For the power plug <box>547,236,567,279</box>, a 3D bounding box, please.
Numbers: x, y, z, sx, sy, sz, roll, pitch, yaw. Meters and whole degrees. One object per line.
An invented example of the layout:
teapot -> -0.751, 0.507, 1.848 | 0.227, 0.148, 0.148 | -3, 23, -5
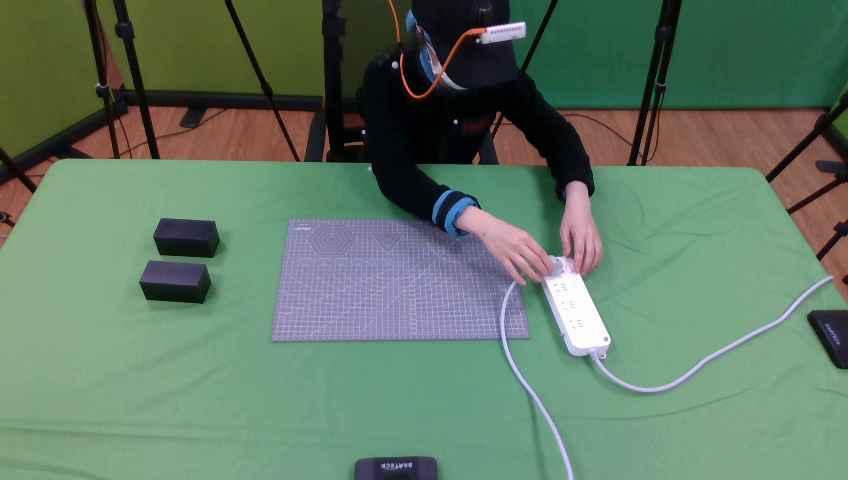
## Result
power plug -> 0.243, 0.034, 1.107 | 0.035, 0.073, 0.052 | -1, 34, 10

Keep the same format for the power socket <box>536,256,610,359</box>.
power socket -> 0.266, 0.114, 1.097 | 0.072, 0.033, 0.225 | -6, 47, -9
